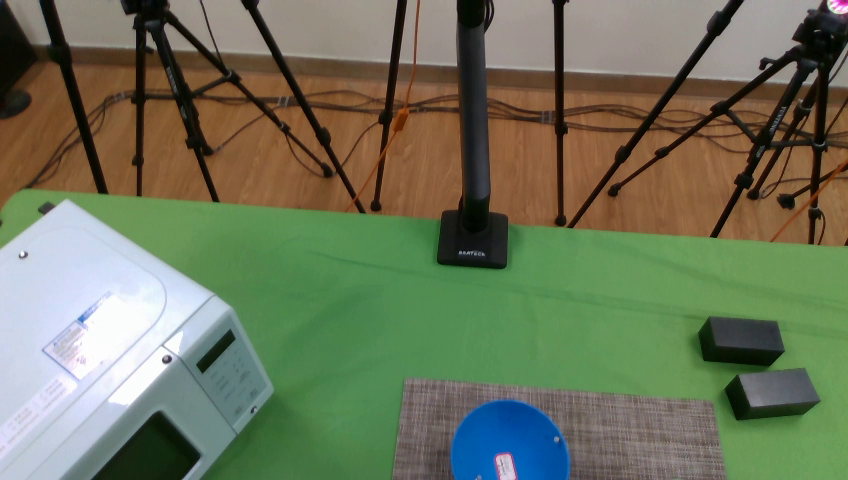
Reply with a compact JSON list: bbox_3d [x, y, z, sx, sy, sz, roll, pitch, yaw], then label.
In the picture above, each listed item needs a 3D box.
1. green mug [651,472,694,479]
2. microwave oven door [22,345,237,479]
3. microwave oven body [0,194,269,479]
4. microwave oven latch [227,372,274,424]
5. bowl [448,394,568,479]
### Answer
[{"bbox_3d":[0.311,0.343,0.734,0.125,0.106,0.092,19,55,15],"label":"green mug"},{"bbox_3d":[-0.372,0.304,0.667,0.039,0.246,0.354,27,58,20],"label":"microwave oven door"},{"bbox_3d":[-0.471,0.216,0.739,0.324,0.262,0.440,28,59,19],"label":"microwave oven body"},{"bbox_3d":[-0.248,0.219,0.856,0.030,0.030,0.079,30,60,20],"label":"microwave oven latch"},{"bbox_3d":[0.105,0.288,0.794,0.151,0.077,0.150,0,53,1],"label":"bowl"}]
